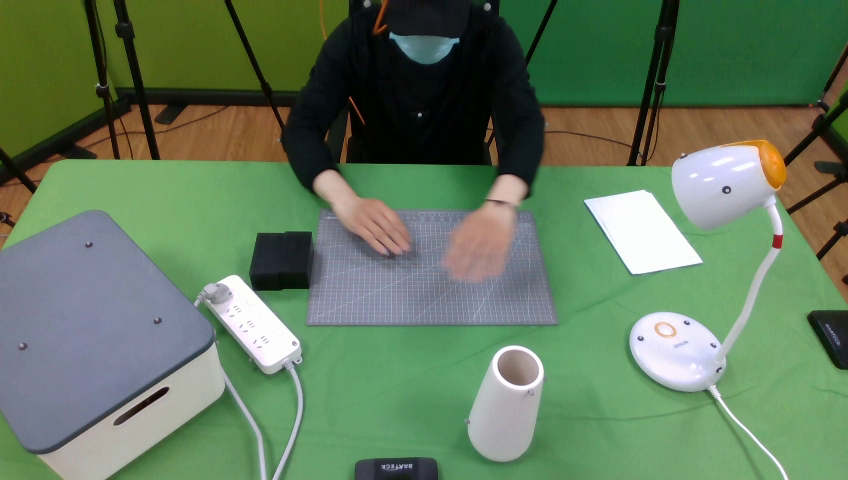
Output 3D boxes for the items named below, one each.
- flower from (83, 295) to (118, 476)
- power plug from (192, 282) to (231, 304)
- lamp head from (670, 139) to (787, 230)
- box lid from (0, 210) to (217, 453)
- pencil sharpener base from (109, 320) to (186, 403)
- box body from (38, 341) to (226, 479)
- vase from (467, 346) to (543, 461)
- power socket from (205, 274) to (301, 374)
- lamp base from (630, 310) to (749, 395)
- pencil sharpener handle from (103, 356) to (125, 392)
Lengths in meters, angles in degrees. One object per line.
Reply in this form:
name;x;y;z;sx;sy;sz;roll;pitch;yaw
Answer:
flower;-0.513;0.210;0.960;0.044;0.038;0.359;5;35;-32
power plug;-0.368;0.097;1.039;0.072;0.053;0.035;-26;56;-20
lamp head;0.415;-0.079;0.812;0.113;0.123;0.112;12;70;-37
box lid;-0.501;0.102;0.865;0.369;0.015;0.263;36;54;27
pencil sharpener base;-0.419;0.187;0.919;0.077;0.107;0.061;-30;54;-27
box body;-0.504;0.154;0.917;0.362;0.161;0.254;36;54;27
vase;0.116;0.234;0.861;0.098;0.201;0.097;1;47;-1
power socket;-0.296;0.140;1.035;0.072;0.033;0.225;-32;57;-29
lamp base;0.447;0.143;0.984;0.161;0.181;0.178;-24;55;-24
pencil sharpener handle;-0.460;0.200;0.887;0.030;0.068;0.036;-30;61;-27
